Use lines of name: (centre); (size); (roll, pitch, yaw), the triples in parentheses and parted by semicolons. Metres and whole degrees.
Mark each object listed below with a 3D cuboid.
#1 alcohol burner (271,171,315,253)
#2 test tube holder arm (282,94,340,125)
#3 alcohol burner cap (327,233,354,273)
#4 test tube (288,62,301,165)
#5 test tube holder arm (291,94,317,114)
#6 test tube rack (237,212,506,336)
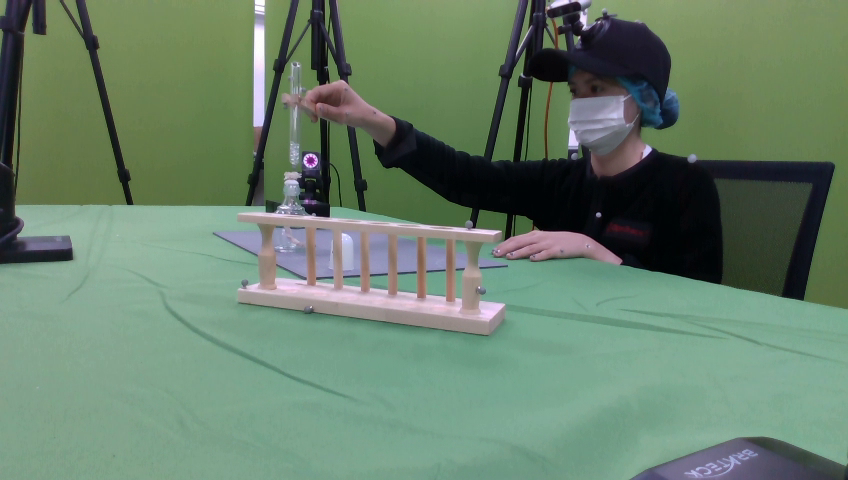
alcohol burner: (-0.196, -0.041, 0.884); (0.078, 0.119, 0.078); (3, 5, 0)
test tube holder arm: (-0.174, -0.203, 0.951); (0.013, 0.015, 0.179); (6, 2, 15)
alcohol burner cap: (-0.104, 0.016, 0.751); (0.034, 0.048, 0.034); (3, 6, 0)
test tube: (-0.188, -0.184, 0.883); (0.017, 0.150, 0.017); (1, -3, 0)
test tube holder arm: (-0.179, -0.202, 0.906); (0.010, 0.015, 0.088); (5, 2, 8)
test tube rack: (-0.049, 0.024, 0.552); (0.242, 0.085, 0.067); (5, 8, 18)
